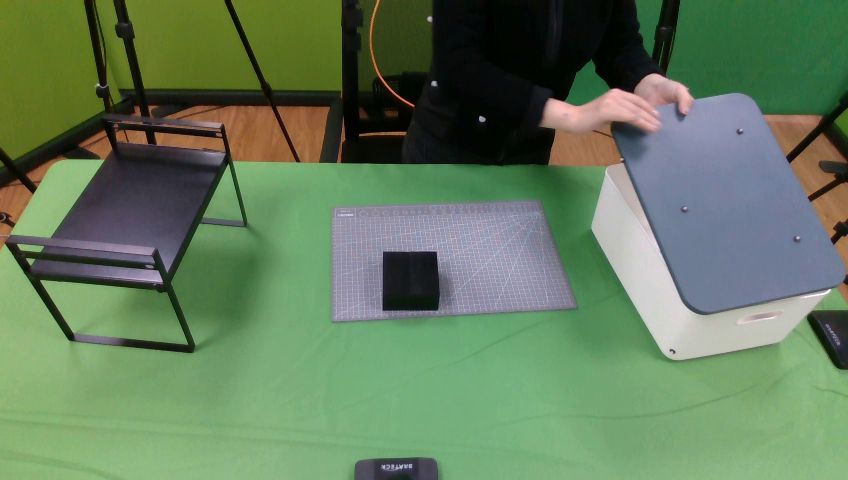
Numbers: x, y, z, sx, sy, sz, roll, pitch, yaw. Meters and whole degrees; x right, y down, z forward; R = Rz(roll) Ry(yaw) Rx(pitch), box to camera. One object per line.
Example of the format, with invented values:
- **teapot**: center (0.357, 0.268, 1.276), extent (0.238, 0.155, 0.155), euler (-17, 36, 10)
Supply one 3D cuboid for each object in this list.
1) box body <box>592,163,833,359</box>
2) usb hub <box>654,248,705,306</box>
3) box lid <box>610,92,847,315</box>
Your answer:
- **box body**: center (0.496, 0.023, 1.112), extent (0.254, 0.161, 0.361), euler (-8, 47, -10)
- **usb hub**: center (0.482, 0.069, 1.150), extent (0.049, 0.025, 0.124), euler (-2, 48, -8)
- **box lid**: center (0.469, -0.075, 0.956), extent (0.263, 0.015, 0.369), euler (-11, 65, -6)
